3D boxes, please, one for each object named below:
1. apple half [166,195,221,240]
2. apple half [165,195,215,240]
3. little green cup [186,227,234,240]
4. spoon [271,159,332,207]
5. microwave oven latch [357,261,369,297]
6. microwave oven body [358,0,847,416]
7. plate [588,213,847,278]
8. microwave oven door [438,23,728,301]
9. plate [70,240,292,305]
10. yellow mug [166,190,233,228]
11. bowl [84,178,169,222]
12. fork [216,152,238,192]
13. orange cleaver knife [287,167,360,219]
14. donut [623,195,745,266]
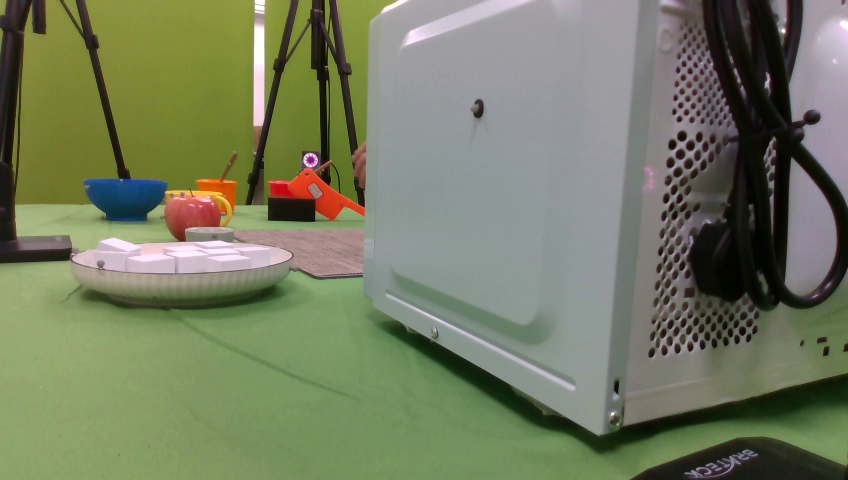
[{"bbox_3d":[-0.351,-0.032,0.935,0.081,0.074,0.053,1,11,-40],"label":"apple half"},{"bbox_3d":[-0.377,-0.038,0.964,0.082,0.081,0.032,-4,15,-39],"label":"apple half"},{"bbox_3d":[-0.284,0.005,0.805,0.061,0.038,0.061,2,8,0],"label":"little green cup"},{"bbox_3d":[-0.307,-0.142,1.514,0.193,0.021,0.041,-41,4,8],"label":"spoon"},{"bbox_3d":[-0.019,0.033,0.530,0.079,0.029,0.030,-1,7,-27],"label":"microwave oven latch"},{"bbox_3d":[0.211,-0.047,0.474,0.444,0.260,0.324,-1,7,-28],"label":"microwave oven body"},{"bbox_3d":[0.245,0.002,0.512,0.209,0.038,0.209,2,6,0],"label":"plate"},{"bbox_3d":[0.181,-0.072,0.621,0.358,0.243,0.039,-2,8,-29],"label":"microwave oven door"},{"bbox_3d":[-0.242,0.031,0.618,0.208,0.039,0.207,2,8,0],"label":"plate"},{"bbox_3d":[-0.415,-0.057,1.132,0.130,0.064,0.100,6,8,16],"label":"yellow mug"},{"bbox_3d":[-0.584,-0.078,1.194,0.151,0.077,0.151,3,8,0],"label":"bowl"},{"bbox_3d":[-0.455,-0.132,1.366,0.028,0.018,0.207,-2,-35,-37],"label":"fork"},{"bbox_3d":[-0.209,-0.089,1.383,0.212,0.077,0.012,31,3,-15],"label":"orange cleaver knife"},{"bbox_3d":[0.220,-0.006,0.518,0.099,0.048,0.099,21,0,0],"label":"donut"}]
